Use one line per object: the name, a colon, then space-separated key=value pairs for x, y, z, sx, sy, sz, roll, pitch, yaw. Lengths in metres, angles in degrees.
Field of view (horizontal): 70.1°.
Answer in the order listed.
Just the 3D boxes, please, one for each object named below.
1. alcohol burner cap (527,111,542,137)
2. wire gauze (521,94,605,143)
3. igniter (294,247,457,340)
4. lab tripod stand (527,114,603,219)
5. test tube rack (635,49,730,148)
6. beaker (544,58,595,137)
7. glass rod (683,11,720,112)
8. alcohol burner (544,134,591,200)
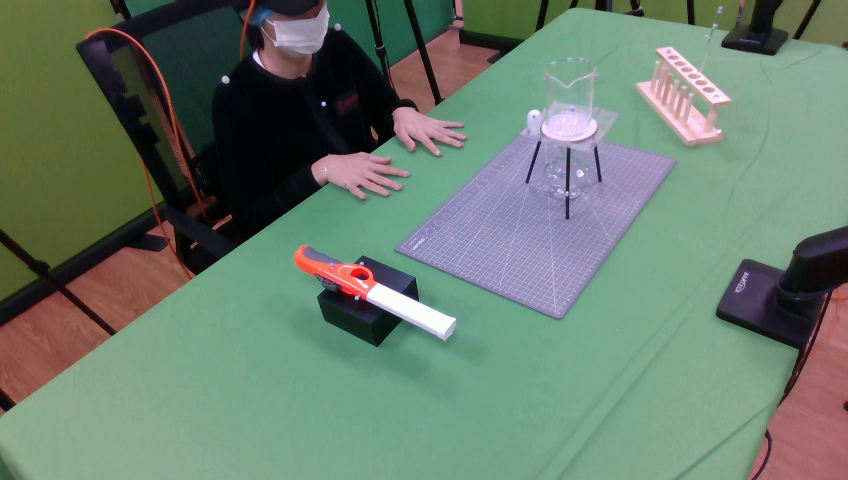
alcohol burner cap: x=0.221 y=-0.233 z=1.200 sx=0.034 sy=0.048 sz=0.033 roll=-6 pitch=41 yaw=6
wire gauze: x=0.219 y=-0.190 z=0.949 sx=0.121 sy=0.011 sz=0.125 roll=7 pitch=46 yaw=14
igniter: x=-0.077 y=0.068 z=0.830 sx=0.274 sy=0.025 sz=0.057 roll=22 pitch=48 yaw=27
lab tripod stand: x=0.234 y=-0.129 z=1.002 sx=0.148 sy=0.132 sz=0.147 roll=-6 pitch=40 yaw=6
test tube rack: x=0.497 y=-0.283 z=1.185 sx=0.067 sy=0.085 sz=0.240 roll=-10 pitch=40 yaw=-2
beaker: x=0.222 y=-0.214 z=0.926 sx=0.074 sy=0.101 sz=0.084 roll=4 pitch=42 yaw=16
glass rod: x=0.518 y=-0.329 z=1.133 sx=0.008 sy=0.200 sz=0.008 roll=1 pitch=42 yaw=-1
alcohol burner: x=0.241 y=-0.127 z=1.014 sx=0.078 sy=0.119 sz=0.077 roll=-5 pitch=42 yaw=5
